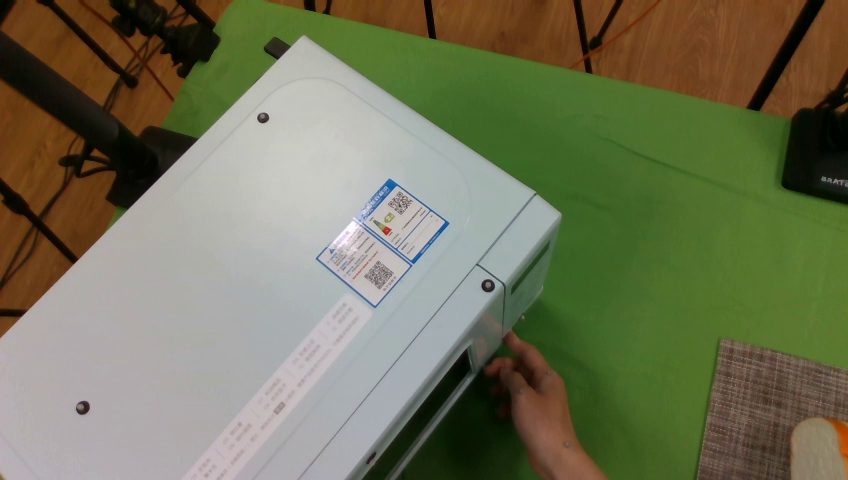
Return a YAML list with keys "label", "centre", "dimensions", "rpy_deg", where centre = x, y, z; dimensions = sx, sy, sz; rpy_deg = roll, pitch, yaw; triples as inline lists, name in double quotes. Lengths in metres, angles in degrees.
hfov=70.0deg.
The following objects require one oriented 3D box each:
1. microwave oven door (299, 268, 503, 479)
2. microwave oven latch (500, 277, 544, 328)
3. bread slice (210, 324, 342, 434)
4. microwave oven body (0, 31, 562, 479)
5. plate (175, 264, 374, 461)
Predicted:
- label: "microwave oven door"
  centre: [-0.050, 0.195, 0.547]
  dimensions: [0.039, 0.245, 0.355]
  rpy_deg: [37, 78, 18]
- label: "microwave oven latch"
  centre: [0.102, 0.066, 0.686]
  dimensions: [0.079, 0.030, 0.030]
  rpy_deg: [-44, 72, -9]
- label: "bread slice"
  centre: [-0.157, 0.155, 0.646]
  dimensions: [0.134, 0.018, 0.106]
  rpy_deg: [-10, 68, -9]
- label: "microwave oven body"
  centre: [-0.134, 0.082, 0.602]
  dimensions: [0.324, 0.262, 0.441]
  rpy_deg: [37, 79, 17]
- label: "plate"
  centre: [-0.156, 0.129, 0.648]
  dimensions: [0.207, 0.039, 0.206]
  rpy_deg: [0, 68, 1]
